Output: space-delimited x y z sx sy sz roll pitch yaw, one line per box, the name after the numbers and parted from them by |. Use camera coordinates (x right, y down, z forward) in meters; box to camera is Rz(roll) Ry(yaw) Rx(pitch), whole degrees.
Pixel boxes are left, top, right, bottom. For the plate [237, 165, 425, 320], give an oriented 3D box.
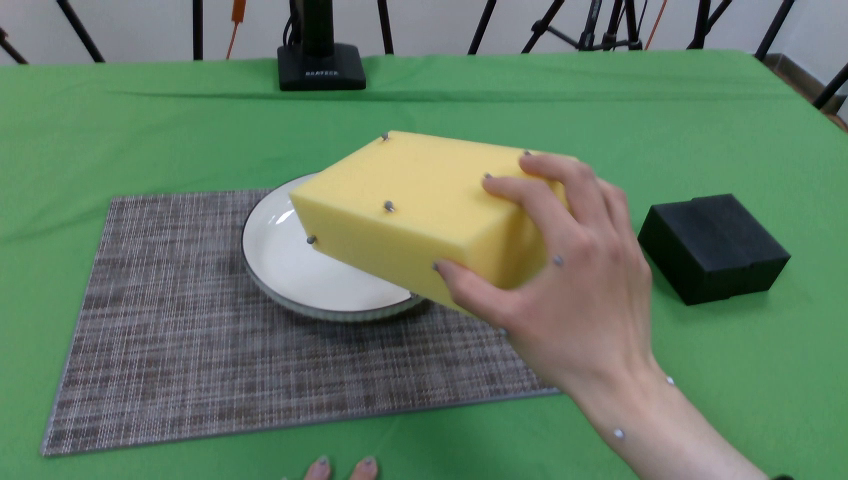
-0.074 0.001 0.595 0.208 0.039 0.205 4 44 -3 | plate

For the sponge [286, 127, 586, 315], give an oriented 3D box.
0.001 -0.027 0.465 0.118 0.061 0.205 -37 35 -29 | sponge
